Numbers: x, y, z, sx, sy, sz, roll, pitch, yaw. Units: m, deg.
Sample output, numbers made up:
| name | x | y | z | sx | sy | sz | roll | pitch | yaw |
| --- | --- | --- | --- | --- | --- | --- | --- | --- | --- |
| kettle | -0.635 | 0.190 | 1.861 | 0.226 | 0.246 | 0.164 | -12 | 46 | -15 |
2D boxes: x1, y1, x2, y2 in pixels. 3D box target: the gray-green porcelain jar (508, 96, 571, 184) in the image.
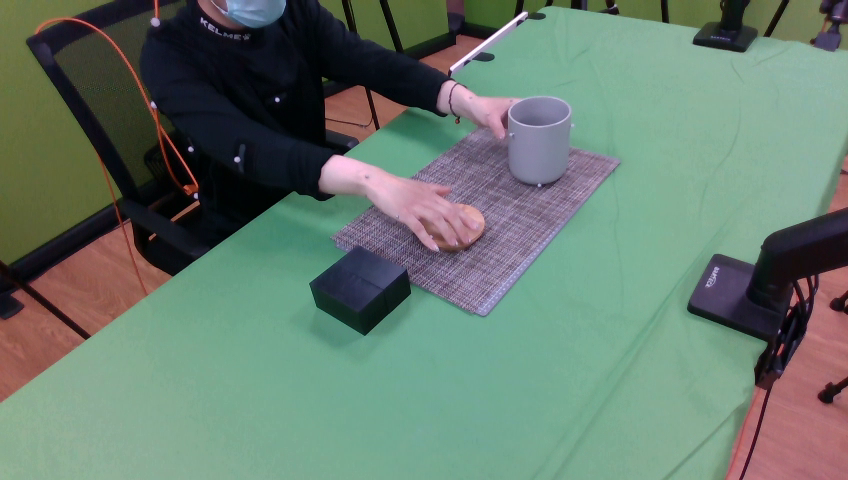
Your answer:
| name | x | y | z | sx | sy | sz | roll | pitch | yaw |
| --- | --- | --- | --- | --- | --- | --- | --- | --- | --- |
| gray-green porcelain jar | 0.199 | -0.170 | 1.051 | 0.106 | 0.127 | 0.105 | -4 | 41 | 4 |

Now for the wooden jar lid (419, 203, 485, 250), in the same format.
| name | x | y | z | sx | sy | sz | roll | pitch | yaw |
| --- | --- | --- | --- | --- | --- | --- | --- | --- | --- |
| wooden jar lid | 0.046 | -0.021 | 0.983 | 0.108 | 0.021 | 0.108 | -5 | 42 | 5 |
